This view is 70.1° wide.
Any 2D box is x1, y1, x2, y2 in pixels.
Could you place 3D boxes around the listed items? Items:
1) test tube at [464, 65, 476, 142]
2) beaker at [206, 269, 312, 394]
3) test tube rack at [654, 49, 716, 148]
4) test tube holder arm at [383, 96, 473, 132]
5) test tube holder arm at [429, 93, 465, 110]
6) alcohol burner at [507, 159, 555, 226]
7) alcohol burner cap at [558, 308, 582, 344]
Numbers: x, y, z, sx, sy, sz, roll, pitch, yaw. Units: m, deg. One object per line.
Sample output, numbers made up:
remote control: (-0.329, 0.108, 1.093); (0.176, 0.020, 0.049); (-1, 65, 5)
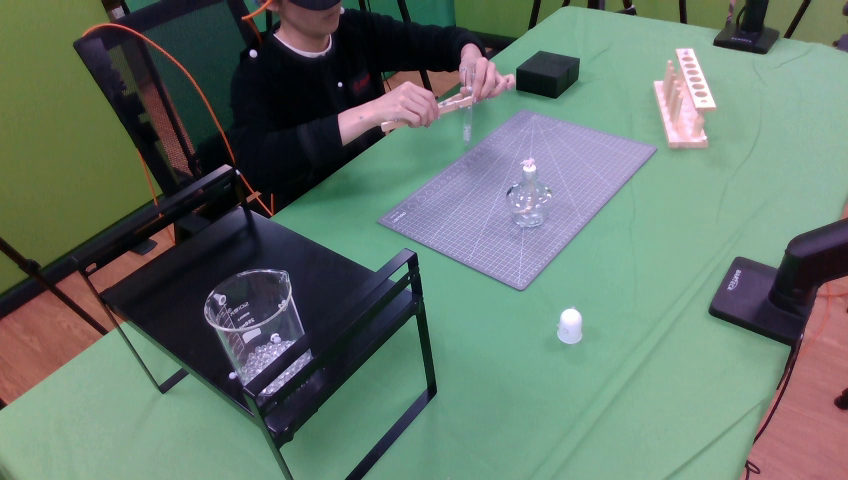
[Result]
test tube: (0.082, -0.244, 1.092); (0.017, 0.151, 0.017); (0, 41, 1)
beaker: (-0.146, 0.086, 0.560); (0.073, 0.101, 0.084); (19, 46, 27)
test tube rack: (0.502, -0.280, 1.176); (0.066, 0.085, 0.241); (2, 41, 11)
test tube holder arm: (0.010, -0.217, 1.037); (0.179, 0.015, 0.013); (-24, 35, -25)
test tube holder arm: (0.041, -0.237, 1.062); (0.010, 0.015, 0.088); (21, 42, 37)
alcohol burner: (0.172, -0.081, 0.969); (0.078, 0.119, 0.077); (-4, 42, 4)
alcohol burner cap: (0.194, 0.111, 0.802); (0.034, 0.048, 0.033); (-4, 39, 4)
